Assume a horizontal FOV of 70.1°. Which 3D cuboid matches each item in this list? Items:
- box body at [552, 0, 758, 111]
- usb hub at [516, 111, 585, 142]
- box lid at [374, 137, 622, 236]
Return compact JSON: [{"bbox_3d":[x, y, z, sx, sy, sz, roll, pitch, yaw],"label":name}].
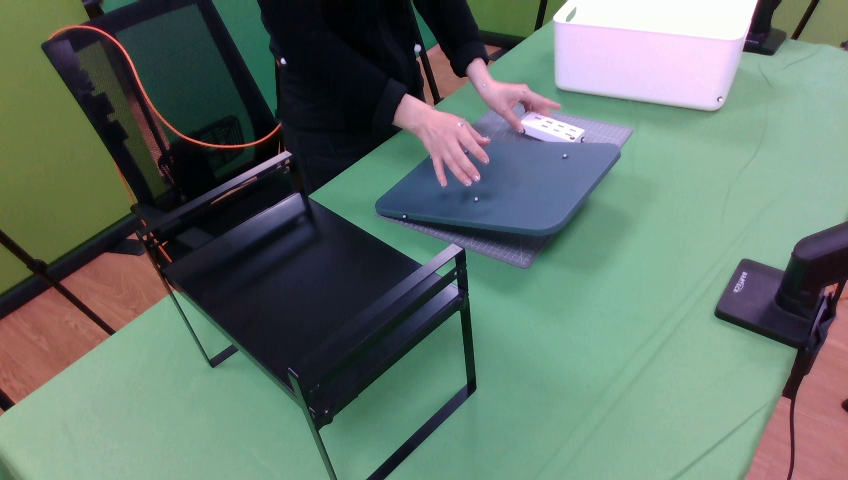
[{"bbox_3d":[0.480,-0.417,1.282,0.362,0.161,0.254,16,46,25],"label":"box body"},{"bbox_3d":[0.244,-0.214,1.170,0.124,0.025,0.049,25,51,27],"label":"usb hub"},{"bbox_3d":[0.115,-0.103,1.024,0.368,0.015,0.264,10,41,38],"label":"box lid"}]
